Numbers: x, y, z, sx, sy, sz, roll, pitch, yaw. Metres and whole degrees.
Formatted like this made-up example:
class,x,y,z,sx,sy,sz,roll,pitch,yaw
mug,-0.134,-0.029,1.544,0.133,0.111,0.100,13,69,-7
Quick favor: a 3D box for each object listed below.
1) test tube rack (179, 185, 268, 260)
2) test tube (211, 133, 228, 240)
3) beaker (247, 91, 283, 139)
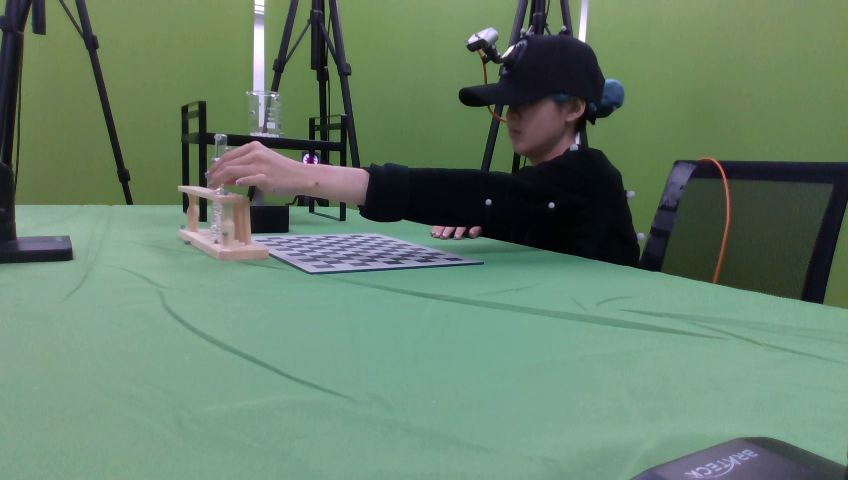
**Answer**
class,x,y,z,sx,sy,sz,roll,pitch,yaw
test tube rack,-0.303,-0.032,0.898,0.067,0.085,0.241,-2,9,-33
test tube,-0.288,-0.075,0.848,0.017,0.150,0.017,5,5,0
beaker,-0.357,-0.278,1.348,0.073,0.100,0.084,9,10,39
